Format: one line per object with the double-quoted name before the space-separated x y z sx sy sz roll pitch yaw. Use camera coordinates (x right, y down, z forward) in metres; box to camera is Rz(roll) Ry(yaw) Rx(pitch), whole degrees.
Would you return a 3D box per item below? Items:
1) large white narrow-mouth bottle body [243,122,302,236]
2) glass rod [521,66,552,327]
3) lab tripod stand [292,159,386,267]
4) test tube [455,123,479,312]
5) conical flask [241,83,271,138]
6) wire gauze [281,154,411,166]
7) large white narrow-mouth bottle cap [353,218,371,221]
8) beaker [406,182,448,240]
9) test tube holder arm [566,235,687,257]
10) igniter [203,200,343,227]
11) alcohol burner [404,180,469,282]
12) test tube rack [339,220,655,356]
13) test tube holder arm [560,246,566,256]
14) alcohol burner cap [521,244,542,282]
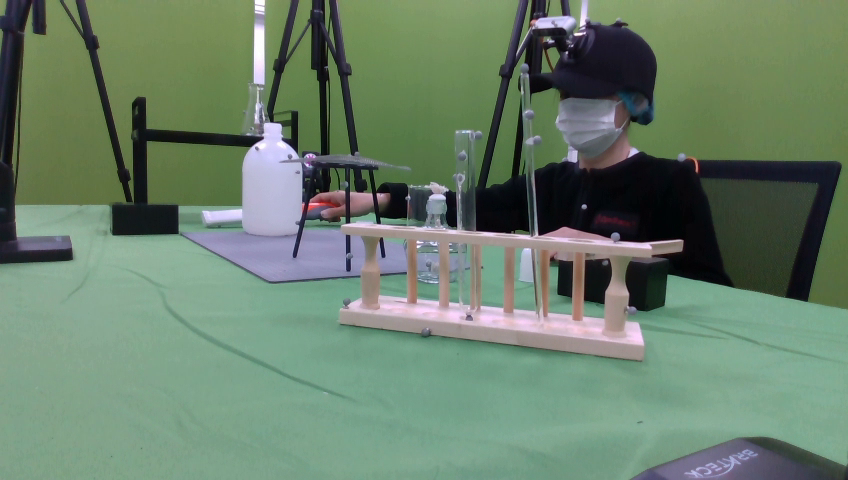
"large white narrow-mouth bottle body" -0.264 -0.109 1.061 0.102 0.194 0.102 2 8 0
"glass rod" 0.085 -0.028 0.454 0.008 0.199 0.008 -7 10 2
"lab tripod stand" -0.105 -0.039 0.797 0.148 0.131 0.148 2 5 0
"test tube" 0.034 -0.016 0.476 0.017 0.150 0.017 -2 10 1
"conical flask" -0.384 -0.297 1.393 0.075 0.122 0.075 2 7 0
"wire gauze" -0.102 -0.105 0.785 0.121 0.011 0.126 7 8 43
"large white narrow-mouth bottle cap" -0.120 -0.029 1.184 0.038 0.024 0.037 2 8 0
"beaker" 0.008 -0.053 1.102 0.074 0.100 0.083 -6 12 -44
"test tube holder arm" 0.215 0.006 0.629 0.179 0.015 0.013 -3 9 -30
"igniter" -0.292 -0.053 1.203 0.278 0.025 0.057 -7 53 -33
"alcohol burner" 0.015 -0.011 0.715 0.078 0.119 0.078 0 7 0
"test tube rack" 0.056 0.032 0.495 0.242 0.085 0.067 4 7 15
"test tube holder arm" 0.173 0.007 0.611 0.088 0.015 0.010 -3 9 -30
"alcohol burner cap" 0.136 0.026 0.741 0.034 0.048 0.034 1 6 0
